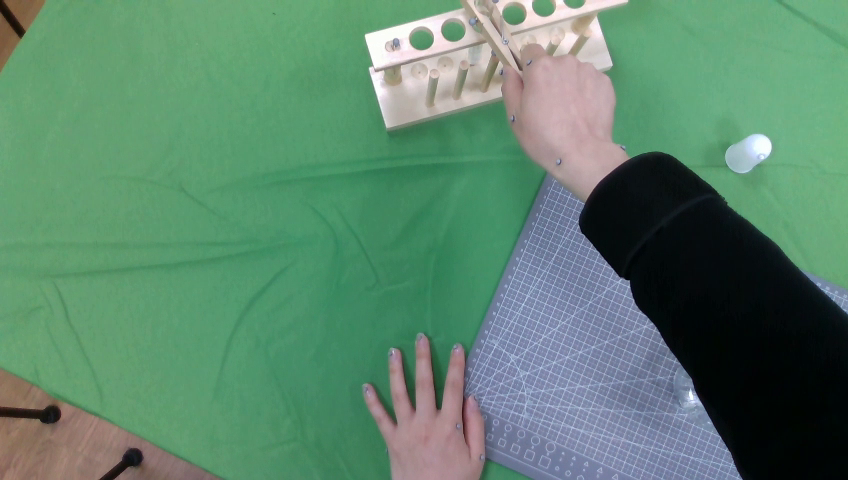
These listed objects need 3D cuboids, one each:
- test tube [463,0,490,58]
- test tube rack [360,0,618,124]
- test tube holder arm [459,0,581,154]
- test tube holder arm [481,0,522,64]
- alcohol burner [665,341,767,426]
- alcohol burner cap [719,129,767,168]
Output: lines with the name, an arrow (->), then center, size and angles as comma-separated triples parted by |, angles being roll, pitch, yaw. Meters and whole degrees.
test tube -> 0.049, -0.204, 0.534 | 0.017, 0.151, 0.017 | 1, 76, -2
test tube rack -> 0.066, -0.186, 0.586 | 0.242, 0.085, 0.066 | -16, 85, -4
test tube holder arm -> 0.078, -0.147, 0.513 | 0.013, 0.015, 0.177 | -29, 79, -12
test tube holder arm -> 0.062, -0.187, 0.523 | 0.010, 0.015, 0.087 | -19, 77, -11
alcohol burner -> 0.271, 0.132, 0.552 | 0.078, 0.119, 0.077 | 0, 82, -2
alcohol burner cap -> 0.326, -0.095, 0.613 | 0.034, 0.048, 0.033 | 0, 79, -2
